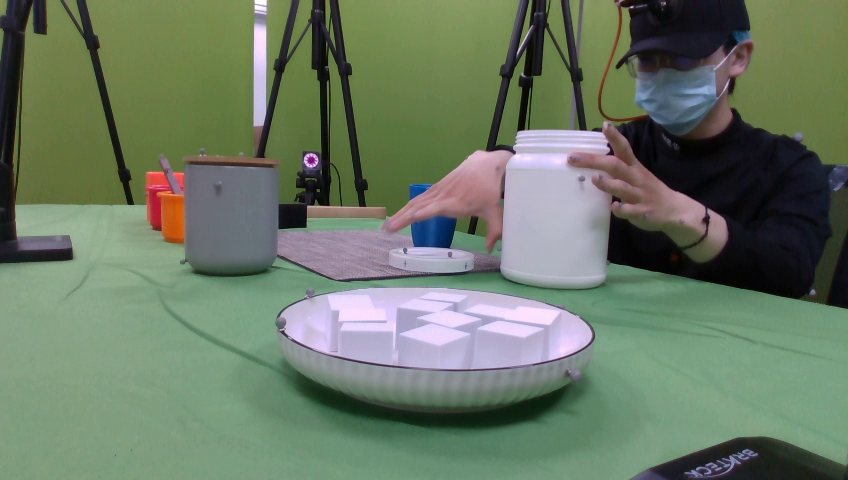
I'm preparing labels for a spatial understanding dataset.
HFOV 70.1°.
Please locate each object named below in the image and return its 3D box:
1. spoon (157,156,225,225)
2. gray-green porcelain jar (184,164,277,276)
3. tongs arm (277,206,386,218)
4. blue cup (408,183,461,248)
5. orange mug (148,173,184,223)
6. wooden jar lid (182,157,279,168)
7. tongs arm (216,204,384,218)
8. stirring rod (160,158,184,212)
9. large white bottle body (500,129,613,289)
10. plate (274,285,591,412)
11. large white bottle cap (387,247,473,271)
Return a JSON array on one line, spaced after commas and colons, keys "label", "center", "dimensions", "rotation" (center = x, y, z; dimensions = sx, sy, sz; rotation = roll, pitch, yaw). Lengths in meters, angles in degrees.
[{"label": "spoon", "center": [-0.425, -0.094, 1.117], "dimensions": [0.041, 0.022, 0.194], "rotation": [5, 51, 29]}, {"label": "gray-green porcelain jar", "center": [-0.230, -0.025, 0.722], "dimensions": [0.106, 0.126, 0.106], "rotation": [3, 7, 0]}, {"label": "tongs arm", "center": [-0.251, -0.063, 1.360], "dimensions": [0.387, 0.026, 0.050], "rotation": [-1, 3, -31]}, {"label": "blue cup", "center": [0.015, -0.038, 0.969], "dimensions": [0.093, 0.100, 0.092], "rotation": [3, 9, 0]}, {"label": "orange mug", "center": [-0.490, -0.087, 1.222], "dimensions": [0.127, 0.101, 0.083], "rotation": [-9, 13, -38]}, {"label": "wooden jar lid", "center": [-0.227, -0.086, 0.714], "dimensions": [0.108, 0.020, 0.108], "rotation": [1, 6, 0]}, {"label": "tongs arm", "center": [-0.288, -0.069, 1.435], "dimensions": [0.389, 0.027, 0.028], "rotation": [0, -1, -17]}, {"label": "stirring rod", "center": [-0.391, -0.070, 0.972], "dimensions": [0.014, 0.006, 0.175], "rotation": [-1, 50, -49]}, {"label": "large white bottle body", "center": [0.162, -0.041, 0.744], "dimensions": [0.131, 0.184, 0.130], "rotation": [2, 7, 0]}, {"label": "plate", "center": [0.005, 0.069, 0.408], "dimensions": [0.208, 0.039, 0.207], "rotation": [2, 7, 0]}, {"label": "large white bottle cap", "center": [0.009, 0.024, 0.804], "dimensions": [0.115, 0.018, 0.115], "rotation": [3, 7, 0]}]
